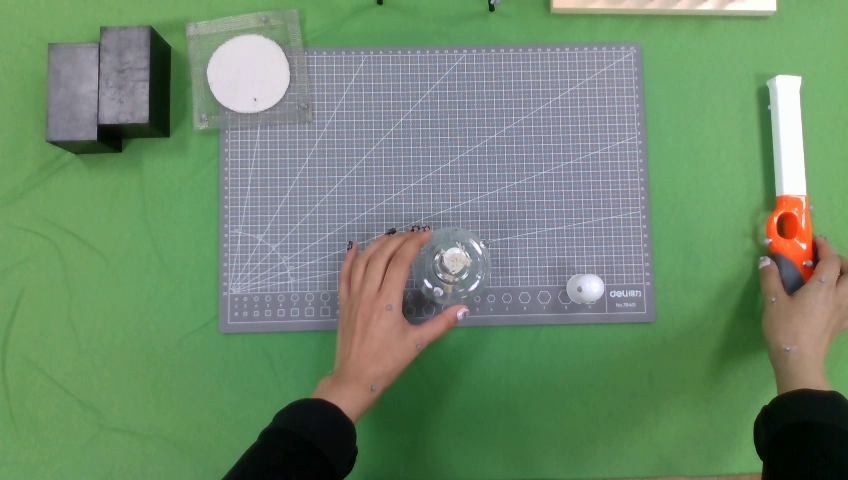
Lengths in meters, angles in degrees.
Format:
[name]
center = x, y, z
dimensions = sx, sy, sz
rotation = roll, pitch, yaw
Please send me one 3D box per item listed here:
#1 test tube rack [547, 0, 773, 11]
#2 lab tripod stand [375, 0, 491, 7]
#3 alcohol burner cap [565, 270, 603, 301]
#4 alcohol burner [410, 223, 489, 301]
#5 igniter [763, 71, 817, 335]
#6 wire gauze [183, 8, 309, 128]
[test tube rack]
center = 0.255, -0.287, 0.623
dimensions = 0.242, 0.085, 0.066
rotation = 0, 85, -1
[lab tripod stand]
center = 0.010, -0.302, 0.596
dimensions = 0.148, 0.132, 0.148
rotation = 0, 84, 1
[alcohol burner cap]
center = 0.164, 0.045, 0.612
dimensions = 0.034, 0.048, 0.034
rotation = 0, 83, 0
[alcohol burner]
center = 0.025, 0.019, 0.576
dimensions = 0.078, 0.119, 0.077
rotation = 0, 83, -2
[igniter]
center = 0.380, -0.040, 0.634
dimensions = 0.057, 0.025, 0.276
rotation = 1, 85, -11
[wire gauze]
center = -0.189, -0.182, 0.641
dimensions = 0.125, 0.011, 0.121
rotation = -7, 84, -1
